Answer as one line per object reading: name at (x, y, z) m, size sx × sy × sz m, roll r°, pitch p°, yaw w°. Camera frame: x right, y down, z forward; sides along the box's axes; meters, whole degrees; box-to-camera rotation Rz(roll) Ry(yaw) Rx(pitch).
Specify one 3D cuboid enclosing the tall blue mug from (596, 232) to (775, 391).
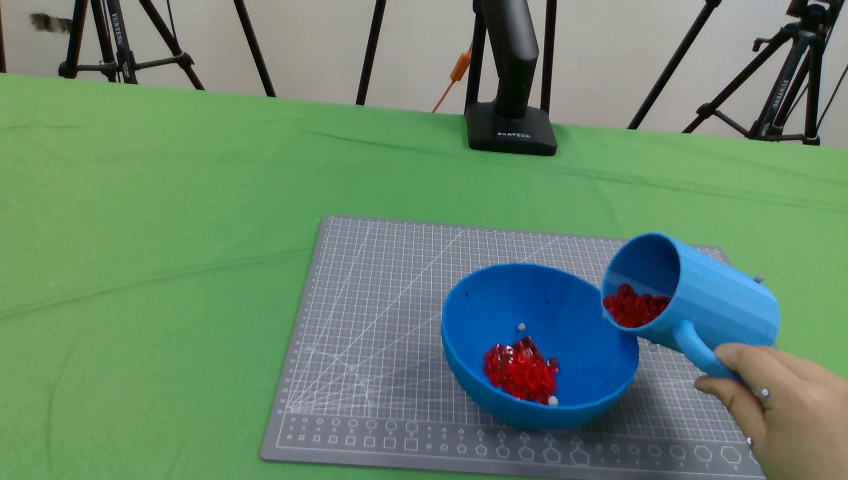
tall blue mug at (0.202, 0.053, 0.445) m, size 0.109 × 0.078 × 0.106 m, roll 22°, pitch 5°, yaw -24°

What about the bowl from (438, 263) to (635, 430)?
bowl at (0.081, 0.096, 0.481) m, size 0.151 × 0.077 × 0.150 m, roll 5°, pitch 38°, yaw -3°
